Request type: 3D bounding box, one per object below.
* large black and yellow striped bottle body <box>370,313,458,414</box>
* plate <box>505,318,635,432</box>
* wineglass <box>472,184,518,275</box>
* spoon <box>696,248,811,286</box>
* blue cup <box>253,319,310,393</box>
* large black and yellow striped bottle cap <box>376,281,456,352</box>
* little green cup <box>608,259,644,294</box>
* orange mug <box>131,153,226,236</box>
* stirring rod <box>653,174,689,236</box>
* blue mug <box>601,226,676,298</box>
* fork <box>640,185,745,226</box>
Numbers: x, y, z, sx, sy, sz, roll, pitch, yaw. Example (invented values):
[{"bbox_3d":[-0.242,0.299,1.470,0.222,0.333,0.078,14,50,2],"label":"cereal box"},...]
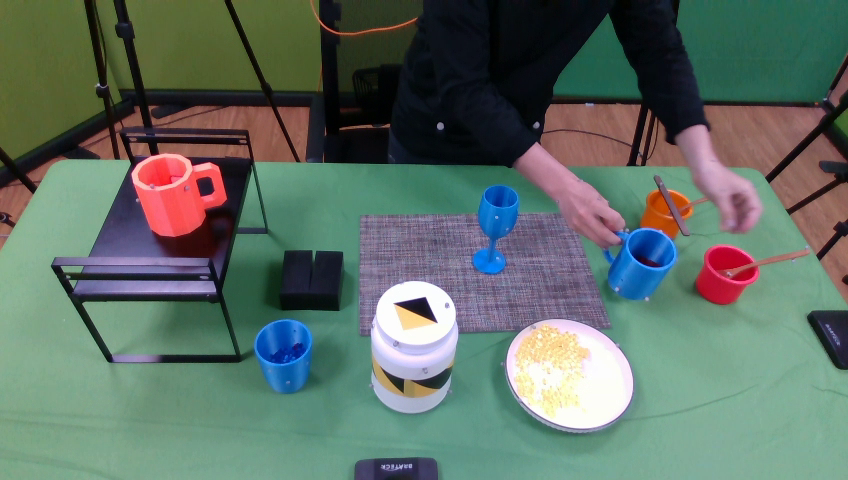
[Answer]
[{"bbox_3d":[-0.017,0.165,0.924,0.131,0.185,0.130,2,46,-2],"label":"large black and yellow striped bottle body"},{"bbox_3d":[0.235,0.221,0.991,0.209,0.038,0.208,2,45,-2],"label":"plate"},{"bbox_3d":[0.129,-0.018,1.113,0.074,0.173,0.073,2,46,-2],"label":"wineglass"},{"bbox_3d":[0.600,0.048,1.112,0.193,0.022,0.041,-25,32,35],"label":"spoon"},{"bbox_3d":[-0.217,0.187,0.943,0.093,0.101,0.092,4,45,-3],"label":"blue cup"},{"bbox_3d":[-0.011,0.107,0.863,0.115,0.019,0.114,2,47,-2],"label":"large black and yellow striped bottle cap"},{"bbox_3d":[0.379,0.070,1.147,0.061,0.039,0.061,3,46,-3],"label":"little green cup"},{"bbox_3d":[-0.375,-0.075,0.937,0.126,0.101,0.083,-20,50,-17],"label":"orange mug"},{"bbox_3d":[0.491,-0.072,1.211,0.014,0.006,0.175,-1,47,-6],"label":"stirring rod"},{"bbox_3d":[0.351,0.029,1.027,0.116,0.106,0.082,37,64,21],"label":"blue mug"},{"bbox_3d":[0.534,-0.068,1.215,0.207,0.019,0.028,-26,27,33],"label":"fork"}]
